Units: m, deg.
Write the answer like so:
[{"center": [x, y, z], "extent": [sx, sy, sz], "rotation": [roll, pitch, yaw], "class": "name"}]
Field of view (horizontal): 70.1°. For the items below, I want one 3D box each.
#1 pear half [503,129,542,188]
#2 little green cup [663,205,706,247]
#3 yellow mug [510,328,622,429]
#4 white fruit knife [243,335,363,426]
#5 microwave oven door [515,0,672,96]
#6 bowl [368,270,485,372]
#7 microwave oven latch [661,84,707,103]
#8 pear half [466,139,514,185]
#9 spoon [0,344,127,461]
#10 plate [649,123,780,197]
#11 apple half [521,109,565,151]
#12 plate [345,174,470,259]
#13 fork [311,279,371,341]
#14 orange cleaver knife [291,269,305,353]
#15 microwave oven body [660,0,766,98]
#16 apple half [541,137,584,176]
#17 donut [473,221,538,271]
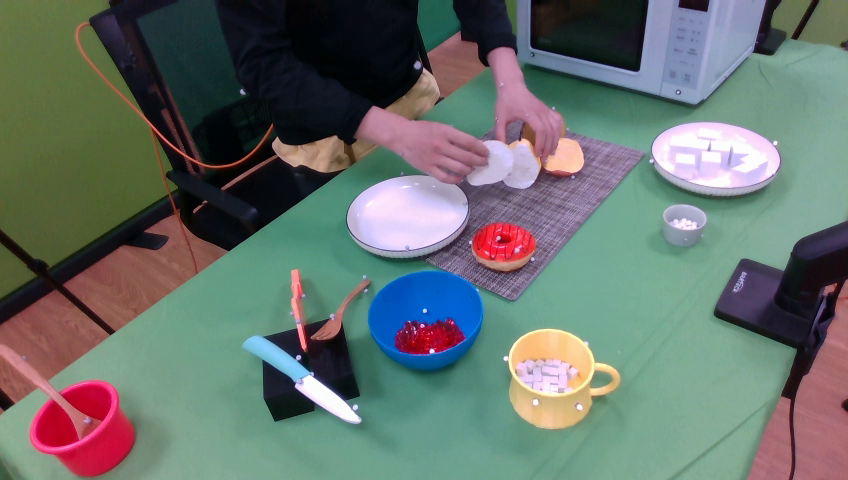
[{"center": [0.170, -0.150, 1.052], "extent": [0.076, 0.110, 0.056], "rotation": [8, 42, 10], "class": "pear half"}, {"center": [0.396, -0.021, 0.926], "extent": [0.061, 0.039, 0.061], "rotation": [-4, 40, 4], "class": "little green cup"}, {"center": [0.169, 0.164, 0.721], "extent": [0.130, 0.064, 0.099], "rotation": [0, 40, 8], "class": "yellow mug"}, {"center": [-0.148, 0.167, 0.730], "extent": [0.206, 0.016, 0.027], "rotation": [26, 80, 31], "class": "white fruit knife"}, {"center": [0.343, -0.455, 1.259], "extent": [0.353, 0.245, 0.039], "rotation": [26, 51, 33], "class": "microwave oven door"}, {"center": [0.007, 0.118, 0.791], "extent": [0.151, 0.077, 0.150], "rotation": [-5, 40, 4], "class": "bowl"}, {"center": [0.517, -0.296, 1.204], "extent": [0.078, 0.029, 0.030], "rotation": [27, 52, 35], "class": "microwave oven latch"}, {"center": [0.101, -0.124, 0.945], "extent": [0.070, 0.088, 0.031], "rotation": [39, 38, -8], "class": "pear half"}, {"center": [-0.433, 0.191, 0.721], "extent": [0.194, 0.021, 0.042], "rotation": [47, 52, -6], "class": "spoon"}, {"center": [0.497, -0.135, 1.046], "extent": [0.207, 0.039, 0.206], "rotation": [-4, 40, 4], "class": "plate"}, {"center": [0.224, -0.212, 1.145], "extent": [0.080, 0.075, 0.053], "rotation": [-6, 36, 9], "class": "apple half"}, {"center": [-0.026, -0.036, 1.004], "extent": [0.209, 0.038, 0.208], "rotation": [-4, 40, 4], "class": "plate"}, {"center": [-0.108, 0.092, 0.832], "extent": [0.028, 0.019, 0.207], "rotation": [-6, 19, 15], "class": "fork"}, {"center": [-0.175, 0.093, 0.844], "extent": [0.012, 0.077, 0.210], "rotation": [-11, 15, -10], "class": "orange cleaver knife"}, {"center": [0.472, -0.513, 1.317], "extent": [0.438, 0.261, 0.327], "rotation": [26, 51, 34], "class": "microwave oven body"}, {"center": [0.247, -0.146, 1.089], "extent": [0.081, 0.033, 0.081], "rotation": [-1, 65, 4], "class": "apple half"}, {"center": [0.123, 0.008, 0.923], "extent": [0.099, 0.048, 0.098], "rotation": [-3, 38, 3], "class": "donut"}]
